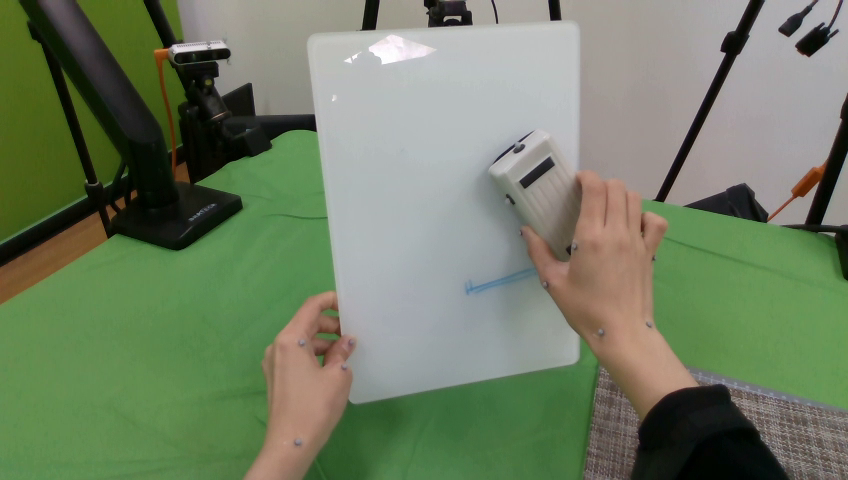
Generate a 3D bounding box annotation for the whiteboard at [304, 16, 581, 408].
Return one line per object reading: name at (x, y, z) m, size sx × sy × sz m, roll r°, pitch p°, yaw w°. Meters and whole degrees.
whiteboard at (0.015, -0.034, 0.562) m, size 0.218 × 0.307 × 0.143 m, roll -8°, pitch 15°, yaw -11°

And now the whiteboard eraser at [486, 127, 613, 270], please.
whiteboard eraser at (0.103, -0.033, 0.495) m, size 0.055 × 0.113 × 0.041 m, roll -41°, pitch 22°, yaw -2°
